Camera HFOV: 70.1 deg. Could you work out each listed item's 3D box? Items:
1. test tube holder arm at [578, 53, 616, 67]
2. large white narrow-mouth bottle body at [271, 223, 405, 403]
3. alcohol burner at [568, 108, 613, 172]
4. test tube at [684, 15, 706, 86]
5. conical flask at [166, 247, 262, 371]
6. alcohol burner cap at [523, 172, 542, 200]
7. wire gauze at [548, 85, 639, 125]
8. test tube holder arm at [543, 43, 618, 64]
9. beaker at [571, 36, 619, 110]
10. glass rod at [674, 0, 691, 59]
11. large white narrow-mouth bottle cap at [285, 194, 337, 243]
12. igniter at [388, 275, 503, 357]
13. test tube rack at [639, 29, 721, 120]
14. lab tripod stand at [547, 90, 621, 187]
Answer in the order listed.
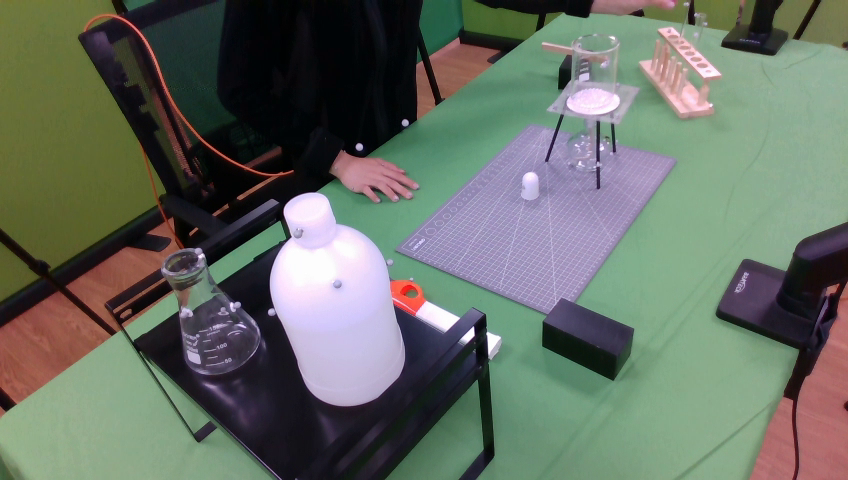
[{"bbox_3d":[0.376,-0.394,1.315,0.087,0.015,0.010,26,51,32],"label":"test tube holder arm"},{"bbox_3d":[-0.077,0.048,0.525,0.102,0.195,0.101,-5,40,4],"label":"large white narrow-mouth bottle body"},{"bbox_3d":[0.296,-0.182,1.074,0.078,0.119,0.077,-5,43,5],"label":"alcohol burner"},{"bbox_3d":[0.541,-0.378,1.215,0.017,0.151,0.017,-2,44,3],"label":"test tube"},{"bbox_3d":[-0.209,0.064,0.584,0.075,0.122,0.075,-5,40,4],"label":"conical flask"},{"bbox_3d":[0.186,-0.096,1.047,0.034,0.048,0.033,-6,37,5],"label":"alcohol burner cap"},{"bbox_3d":[0.286,-0.233,1.020,0.124,0.011,0.122,15,43,30],"label":"wire gauze"},{"bbox_3d":[0.344,-0.413,1.341,0.177,0.015,0.013,25,50,31],"label":"test tube holder arm"},{"bbox_3d":[0.281,-0.273,0.992,0.084,0.101,0.073,-24,42,-16],"label":"beaker"},{"bbox_3d":[0.536,-0.437,1.257,0.008,0.200,0.008,0,39,1],"label":"glass rod"},{"bbox_3d":[-0.087,-0.017,0.468,0.038,0.024,0.037,-5,40,4],"label":"large white narrow-mouth bottle cap"},{"bbox_3d":[-0.008,0.093,0.870,0.274,0.025,0.057,24,60,33],"label":"igniter"},{"bbox_3d":[0.527,-0.351,1.262,0.067,0.085,0.241,-8,40,1],"label":"test tube rack"},{"bbox_3d":[0.289,-0.184,1.062,0.148,0.132,0.147,-6,41,6],"label":"lab tripod stand"}]
